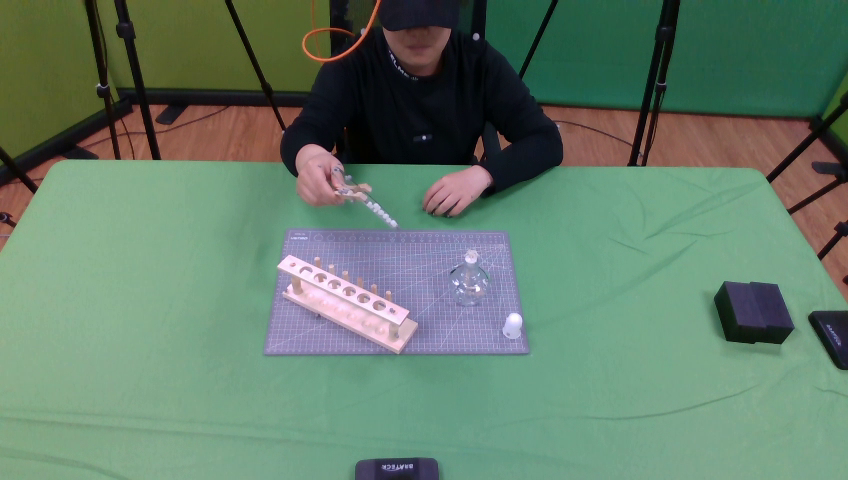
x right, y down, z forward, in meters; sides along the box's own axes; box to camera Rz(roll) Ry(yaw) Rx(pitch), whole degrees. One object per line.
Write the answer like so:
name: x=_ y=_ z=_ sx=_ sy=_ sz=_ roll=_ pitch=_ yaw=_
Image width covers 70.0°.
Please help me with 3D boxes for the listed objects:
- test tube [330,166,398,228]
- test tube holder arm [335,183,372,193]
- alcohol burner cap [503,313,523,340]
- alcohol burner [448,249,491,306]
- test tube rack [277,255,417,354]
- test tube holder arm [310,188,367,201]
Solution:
test tube: x=-0.087 y=-0.061 z=0.914 sx=0.017 sy=0.151 sz=0.017 roll=-23 pitch=45 yaw=26
test tube holder arm: x=-0.109 y=-0.076 z=0.922 sx=0.087 sy=0.015 sz=0.010 roll=-2 pitch=52 yaw=50
alcohol burner cap: x=0.156 y=0.148 z=1.051 sx=0.034 sy=0.048 sz=0.033 roll=1 pitch=45 yaw=-1
alcohol burner: x=0.081 y=0.062 z=1.078 sx=0.078 sy=0.120 sz=0.077 roll=1 pitch=45 yaw=-1
test tube rack: x=-0.131 y=0.099 z=1.045 sx=0.241 sy=0.085 sz=0.066 roll=23 pitch=49 yaw=17
test tube holder arm: x=-0.139 y=-0.073 z=0.956 sx=0.177 sy=0.015 sz=0.013 roll=8 pitch=60 yaw=54
